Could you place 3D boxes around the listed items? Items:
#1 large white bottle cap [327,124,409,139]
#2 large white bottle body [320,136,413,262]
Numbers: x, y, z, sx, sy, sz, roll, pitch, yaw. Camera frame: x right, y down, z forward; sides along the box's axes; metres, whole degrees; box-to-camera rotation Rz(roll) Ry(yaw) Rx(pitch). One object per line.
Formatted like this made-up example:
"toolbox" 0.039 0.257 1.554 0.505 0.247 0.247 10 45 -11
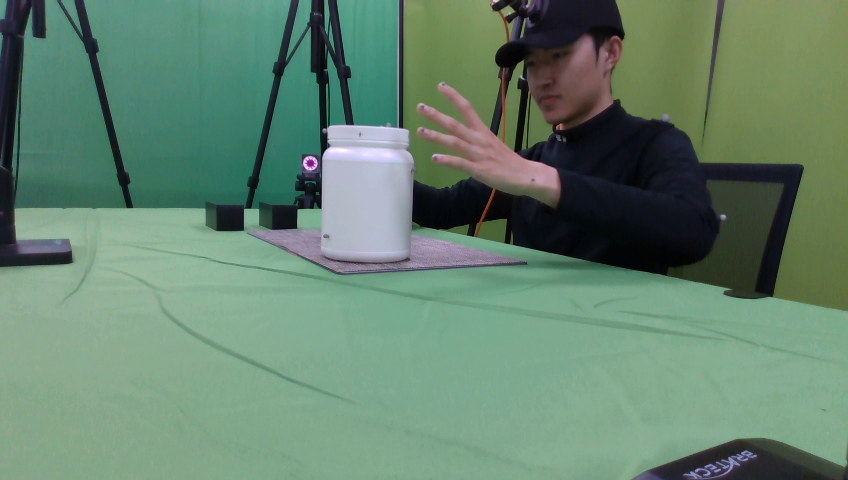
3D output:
"large white bottle cap" -0.078 -0.151 0.852 0.115 0.018 0.115 1 7 0
"large white bottle body" -0.081 -0.068 0.864 0.131 0.184 0.130 2 8 0
